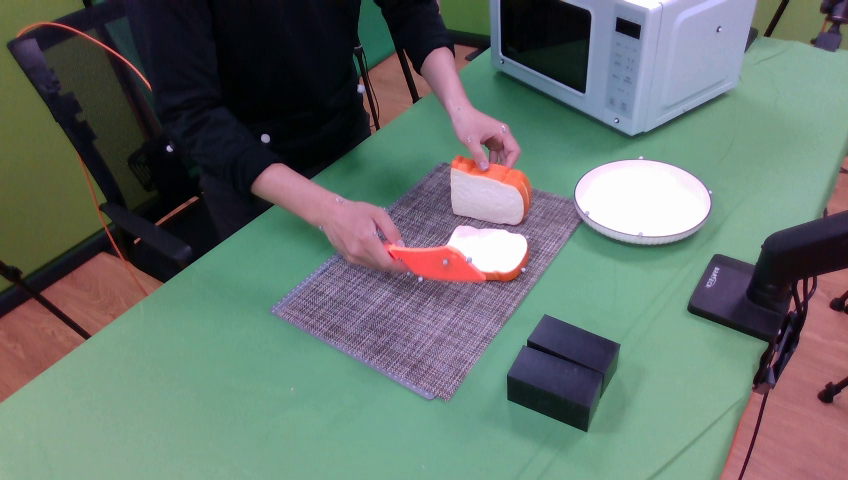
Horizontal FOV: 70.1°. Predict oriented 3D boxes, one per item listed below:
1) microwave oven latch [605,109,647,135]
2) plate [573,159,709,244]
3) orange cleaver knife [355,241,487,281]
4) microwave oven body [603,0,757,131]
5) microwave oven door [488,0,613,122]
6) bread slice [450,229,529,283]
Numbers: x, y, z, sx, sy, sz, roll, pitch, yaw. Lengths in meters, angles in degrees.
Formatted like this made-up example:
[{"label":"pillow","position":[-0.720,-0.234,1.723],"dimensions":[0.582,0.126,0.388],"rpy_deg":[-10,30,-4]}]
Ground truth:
[{"label":"microwave oven latch","position":[0.378,-0.225,1.139],"dimensions":[0.030,0.029,0.078],"rpy_deg":[-26,43,-19]},{"label":"plate","position":[0.347,-0.059,0.979],"dimensions":[0.207,0.039,0.206],"rpy_deg":[-4,41,4]},{"label":"orange cleaver knife","position":[-0.009,0.028,0.804],"dimensions":[0.209,0.078,0.012],"rpy_deg":[4,53,44]},{"label":"microwave oven body","position":[0.396,-0.448,1.248],"dimensions":[0.327,0.261,0.437],"rpy_deg":[-27,44,-21]},{"label":"microwave oven door","position":[0.250,-0.412,1.219],"dimensions":[0.039,0.245,0.352],"rpy_deg":[-27,44,-21]},{"label":"bread slice","position":[0.093,0.025,0.929],"dimensions":[0.133,0.018,0.107],"rpy_deg":[7,47,29]}]
